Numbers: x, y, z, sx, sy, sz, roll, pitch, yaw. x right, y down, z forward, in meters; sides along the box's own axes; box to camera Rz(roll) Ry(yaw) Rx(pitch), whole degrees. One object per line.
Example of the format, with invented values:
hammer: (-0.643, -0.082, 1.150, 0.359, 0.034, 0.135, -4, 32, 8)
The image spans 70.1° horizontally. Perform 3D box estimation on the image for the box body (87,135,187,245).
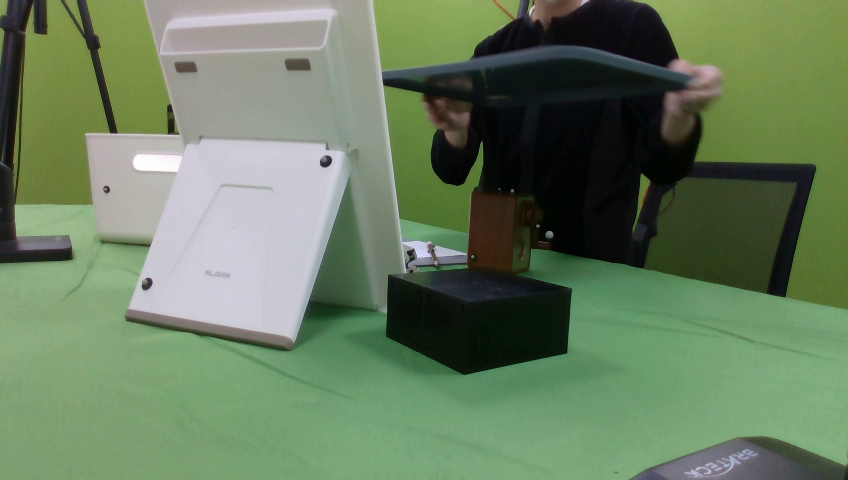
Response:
box body: (-0.338, -0.088, 1.022, 0.254, 0.160, 0.364, 3, 7, 9)

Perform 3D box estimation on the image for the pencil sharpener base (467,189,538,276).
pencil sharpener base: (0.107, -0.011, 0.806, 0.076, 0.107, 0.061, 10, 10, 33)

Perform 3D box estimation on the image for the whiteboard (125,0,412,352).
whiteboard: (-0.151, -0.049, 0.472, 0.216, 0.305, 0.144, 6, 27, 24)

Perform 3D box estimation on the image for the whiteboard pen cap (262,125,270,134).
whiteboard pen cap: (-0.349, -0.244, 1.337, 0.018, 0.018, 0.033, 0, 2, -17)

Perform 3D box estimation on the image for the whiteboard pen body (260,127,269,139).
whiteboard pen body: (-0.366, -0.247, 1.392, 0.017, 0.017, 0.140, 0, 3, -17)

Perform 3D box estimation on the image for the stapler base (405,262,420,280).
stapler base: (-0.069, 0.027, 0.759, 0.130, 0.024, 0.041, 9, 13, 23)

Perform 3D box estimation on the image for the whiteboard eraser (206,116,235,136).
whiteboard eraser: (-0.450, -0.252, 1.335, 0.056, 0.042, 0.112, 1, 7, -22)

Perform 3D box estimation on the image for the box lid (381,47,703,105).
box lid: (0.131, -0.199, 0.776, 0.265, 0.015, 0.369, -2, 8, -40)

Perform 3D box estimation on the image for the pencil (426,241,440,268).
pencil: (0.013, 0.021, 0.885, 0.012, 0.012, 0.194, 2, 9, -3)

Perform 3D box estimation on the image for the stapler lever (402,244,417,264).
stapler lever: (-0.066, 0.003, 0.755, 0.117, 0.040, 0.027, 9, 13, 23)

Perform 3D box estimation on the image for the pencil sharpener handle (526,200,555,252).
pencil sharpener handle: (0.153, -0.017, 0.781, 0.030, 0.068, 0.036, 10, 27, 33)
